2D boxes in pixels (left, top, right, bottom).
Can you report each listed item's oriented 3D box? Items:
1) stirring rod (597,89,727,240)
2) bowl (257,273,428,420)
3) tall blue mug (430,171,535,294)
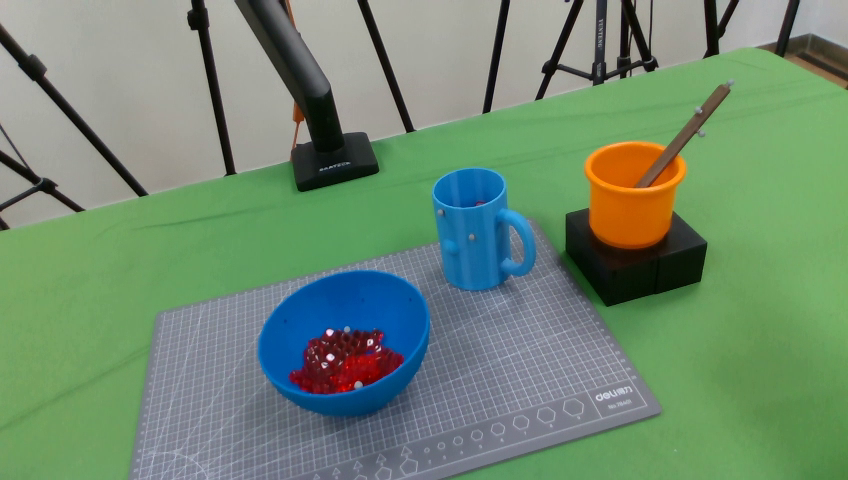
[{"bbox_3d":[0.226,-0.070,0.582,0.176,0.006,0.014,-53,36,13],"label":"stirring rod"},{"bbox_3d":[-0.065,0.107,0.545,0.151,0.077,0.150,-6,37,5],"label":"bowl"},{"bbox_3d":[0.066,-0.006,0.637,0.107,0.109,0.077,2,38,15],"label":"tall blue mug"}]
